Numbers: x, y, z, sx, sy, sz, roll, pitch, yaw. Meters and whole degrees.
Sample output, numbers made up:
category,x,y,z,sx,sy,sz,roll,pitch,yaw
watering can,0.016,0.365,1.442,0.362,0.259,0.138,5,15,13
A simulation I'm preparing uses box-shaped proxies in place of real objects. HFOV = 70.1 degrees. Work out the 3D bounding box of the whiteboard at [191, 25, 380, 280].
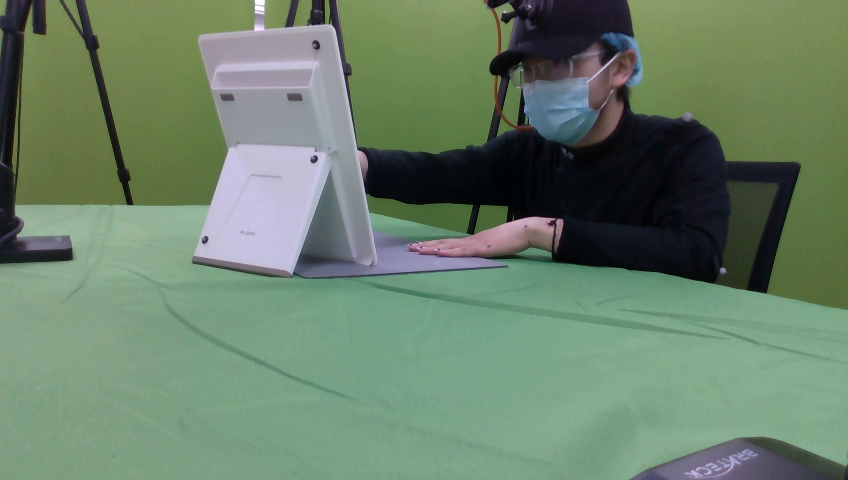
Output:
category,x,y,z,sx,sy,sz,roll,pitch,yaw
whiteboard,-0.206,-0.085,0.732,0.216,0.305,0.144,7,30,30

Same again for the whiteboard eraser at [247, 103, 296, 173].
category,x,y,z,sx,sy,sz,roll,pitch,yaw
whiteboard eraser,-0.213,-0.137,0.840,0.042,0.055,0.112,-40,-13,-17
